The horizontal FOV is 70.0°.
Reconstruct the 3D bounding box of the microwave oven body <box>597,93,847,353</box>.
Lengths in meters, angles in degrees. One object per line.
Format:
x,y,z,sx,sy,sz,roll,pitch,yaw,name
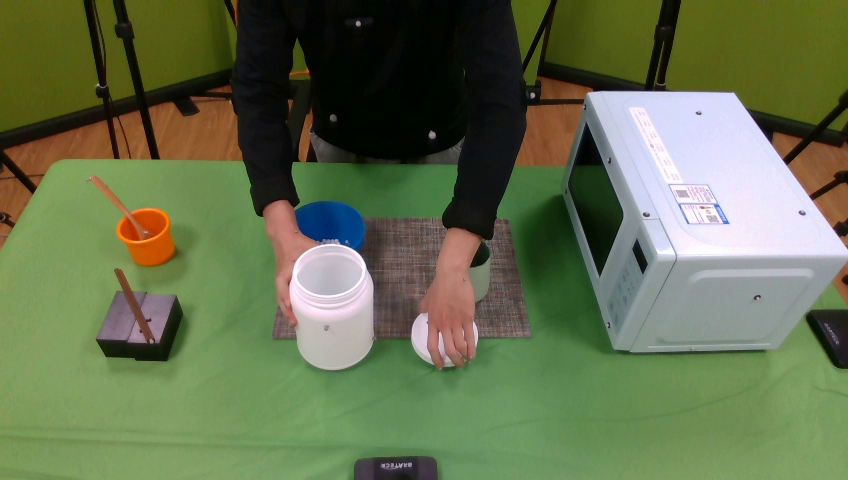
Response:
0.475,-0.041,1.109,0.326,0.261,0.438,-1,45,-4,microwave oven body

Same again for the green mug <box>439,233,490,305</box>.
0.072,0.045,1.101,0.092,0.105,0.124,-6,46,-9,green mug

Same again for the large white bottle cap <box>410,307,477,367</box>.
0.033,0.164,1.033,0.115,0.018,0.114,2,46,-2,large white bottle cap

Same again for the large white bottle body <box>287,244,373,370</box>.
-0.147,0.106,0.967,0.131,0.185,0.130,2,46,-2,large white bottle body

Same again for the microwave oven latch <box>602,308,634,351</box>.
0.332,0.153,1.044,0.030,0.029,0.078,-1,45,-4,microwave oven latch

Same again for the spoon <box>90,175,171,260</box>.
-0.539,-0.042,1.111,0.021,0.194,0.041,-13,27,52,spoon

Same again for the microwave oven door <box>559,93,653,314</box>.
0.327,-0.075,1.123,0.039,0.245,0.353,-1,46,-5,microwave oven door

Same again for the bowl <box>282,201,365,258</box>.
-0.186,0.005,1.138,0.151,0.077,0.150,3,46,-3,bowl

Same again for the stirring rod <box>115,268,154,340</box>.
-0.479,0.103,0.999,0.014,0.006,0.175,7,32,-49,stirring rod
